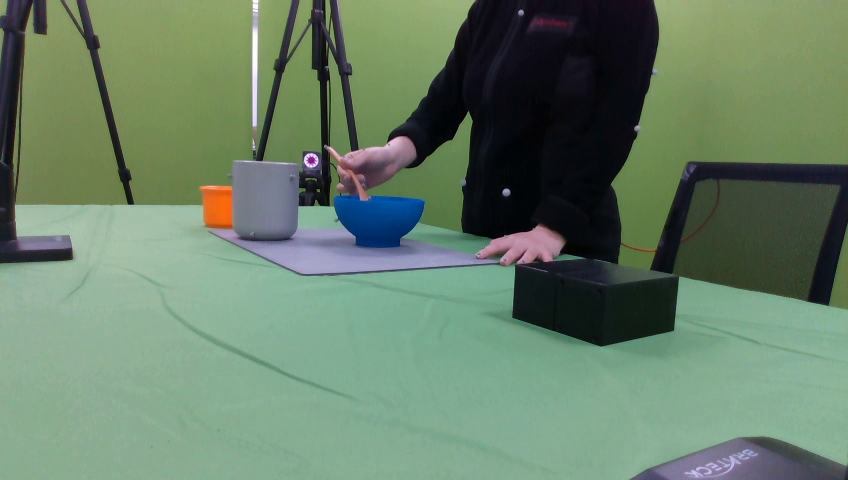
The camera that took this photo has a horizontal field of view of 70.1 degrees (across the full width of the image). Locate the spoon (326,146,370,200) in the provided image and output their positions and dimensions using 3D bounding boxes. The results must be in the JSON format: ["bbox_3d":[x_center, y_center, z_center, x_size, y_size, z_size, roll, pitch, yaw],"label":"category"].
[{"bbox_3d":[-0.117,-0.097,1.023,0.042,0.021,0.193,-1,50,-48],"label":"spoon"}]

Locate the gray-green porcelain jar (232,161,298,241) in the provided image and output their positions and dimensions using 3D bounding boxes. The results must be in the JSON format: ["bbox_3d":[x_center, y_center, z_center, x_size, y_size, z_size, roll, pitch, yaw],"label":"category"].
[{"bbox_3d":[-0.262,-0.065,0.999,0.106,0.126,0.106,3,7,0],"label":"gray-green porcelain jar"}]

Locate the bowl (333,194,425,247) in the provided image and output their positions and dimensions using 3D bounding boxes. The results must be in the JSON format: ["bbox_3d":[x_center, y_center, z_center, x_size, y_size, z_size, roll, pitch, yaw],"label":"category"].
[{"bbox_3d":[-0.074,-0.032,0.987,0.151,0.077,0.151,3,7,0],"label":"bowl"}]
